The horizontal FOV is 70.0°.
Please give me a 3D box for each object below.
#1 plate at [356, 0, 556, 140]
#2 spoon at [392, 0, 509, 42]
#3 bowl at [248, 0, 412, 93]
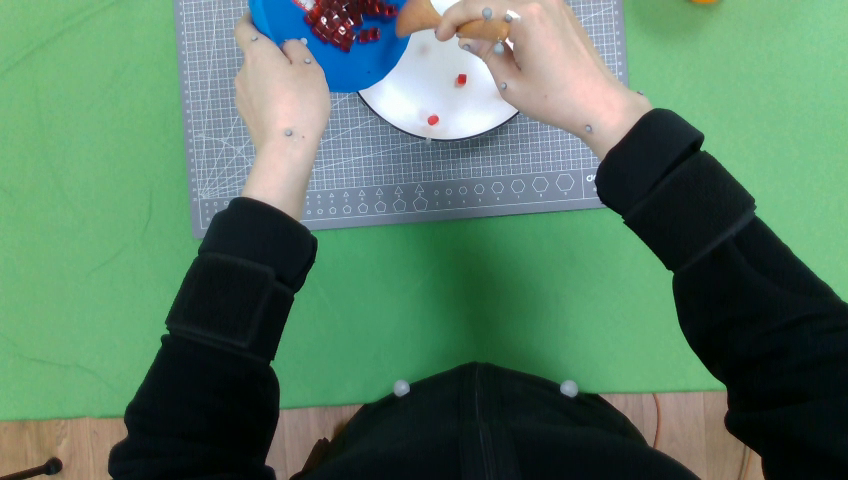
[{"bbox_3d":[0.023,-0.200,0.591,0.209,0.038,0.209,0,91,3],"label":"plate"},{"bbox_3d":[0.015,-0.158,0.434,0.022,0.191,0.041,28,99,-33],"label":"spoon"},{"bbox_3d":[-0.087,-0.203,0.500,0.076,0.153,0.151,24,93,43],"label":"bowl"}]
